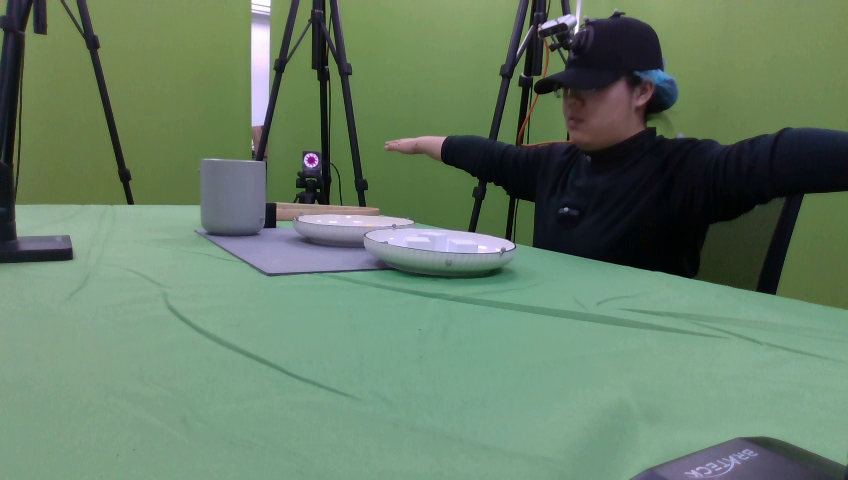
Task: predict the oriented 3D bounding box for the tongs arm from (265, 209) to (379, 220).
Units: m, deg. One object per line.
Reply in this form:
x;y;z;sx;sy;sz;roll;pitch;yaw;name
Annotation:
-0.277;-0.057;1.341;0.389;0.028;0.028;-1;6;-26;tongs arm

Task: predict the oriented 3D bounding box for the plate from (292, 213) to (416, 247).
-0.118;-0.017;1.024;0.208;0.039;0.207;2;8;0;plate

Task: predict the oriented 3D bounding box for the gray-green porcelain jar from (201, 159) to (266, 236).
-0.326;-0.074;1.036;0.106;0.126;0.106;3;8;0;gray-green porcelain jar

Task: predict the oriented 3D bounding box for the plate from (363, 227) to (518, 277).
0.022;0.016;0.817;0.209;0.038;0.209;3;9;0;plate

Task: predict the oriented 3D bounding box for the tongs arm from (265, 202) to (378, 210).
-0.300;-0.072;1.417;0.386;0.026;0.050;2;8;-13;tongs arm
